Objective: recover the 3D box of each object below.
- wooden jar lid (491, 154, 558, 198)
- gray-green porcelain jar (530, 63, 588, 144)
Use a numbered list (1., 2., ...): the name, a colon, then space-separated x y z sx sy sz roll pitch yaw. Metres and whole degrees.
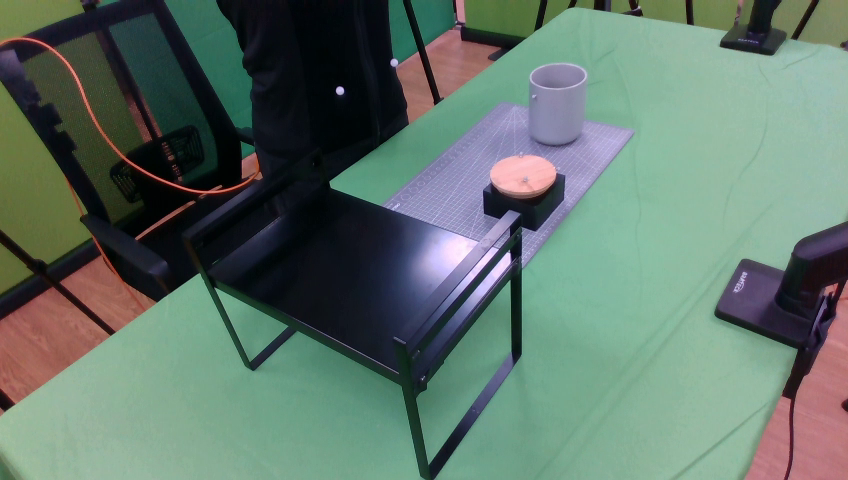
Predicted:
1. wooden jar lid: 0.164 -0.104 0.994 0.108 0.021 0.108 -4 40 4
2. gray-green porcelain jar: 0.254 -0.255 1.151 0.106 0.127 0.105 -4 41 4
